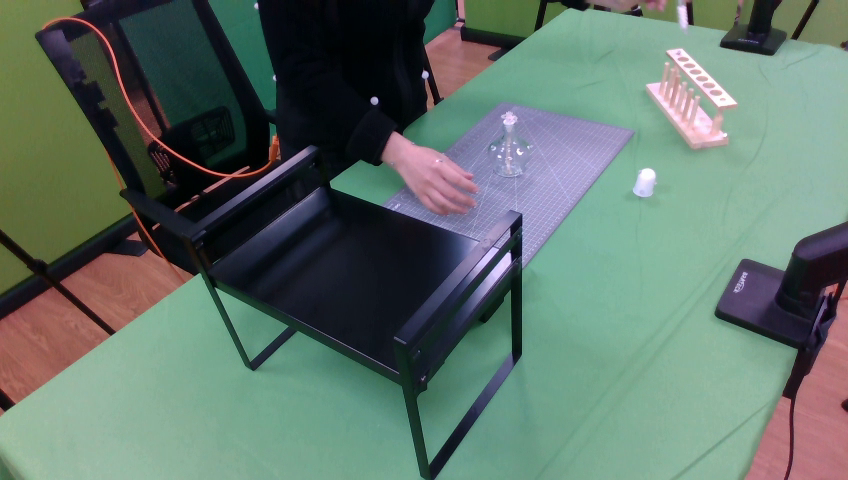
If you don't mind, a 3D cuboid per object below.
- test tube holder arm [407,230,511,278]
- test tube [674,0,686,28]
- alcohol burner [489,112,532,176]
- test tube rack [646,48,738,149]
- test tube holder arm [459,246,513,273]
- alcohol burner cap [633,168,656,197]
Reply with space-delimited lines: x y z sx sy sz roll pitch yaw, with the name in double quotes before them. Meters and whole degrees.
"test tube holder arm" 0.046 0.018 0.877 0.177 0.015 0.013 21 64 30
"test tube" 0.456 -0.459 1.092 0.017 0.150 0.017 -10 7 2
"alcohol burner" 0.155 -0.176 1.083 0.078 0.119 0.077 -3 41 3
"test tube rack" 0.511 -0.280 1.175 0.067 0.085 0.241 -8 41 0
"test tube holder arm" 0.085 0.027 0.857 0.087 0.015 0.010 20 63 30
"alcohol burner cap" 0.374 -0.099 1.018 0.034 0.048 0.033 -1 42 1
